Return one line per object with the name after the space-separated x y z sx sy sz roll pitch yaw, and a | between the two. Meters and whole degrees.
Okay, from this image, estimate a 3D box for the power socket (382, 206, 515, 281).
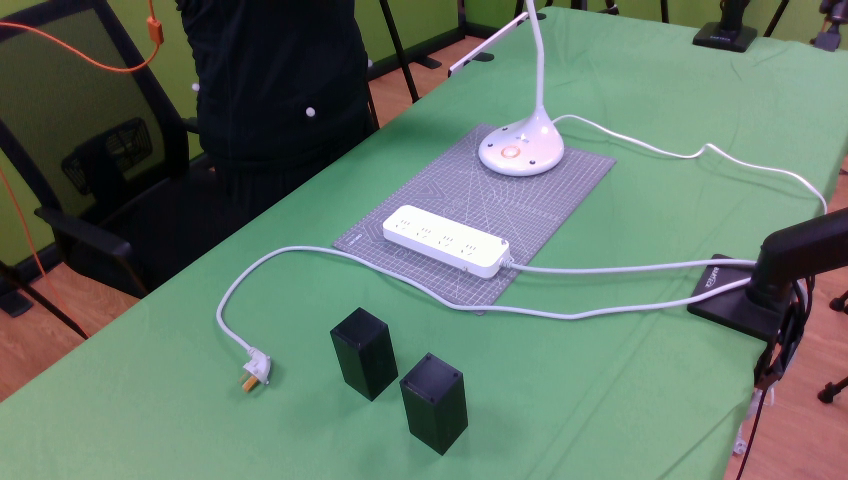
0.032 0.002 0.950 0.225 0.033 0.072 21 49 29 | power socket

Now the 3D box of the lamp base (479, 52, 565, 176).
0.181 -0.235 1.094 0.159 0.181 0.179 18 44 27 | lamp base

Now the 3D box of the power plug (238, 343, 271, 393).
-0.230 0.172 0.801 0.072 0.035 0.053 8 51 50 | power plug
